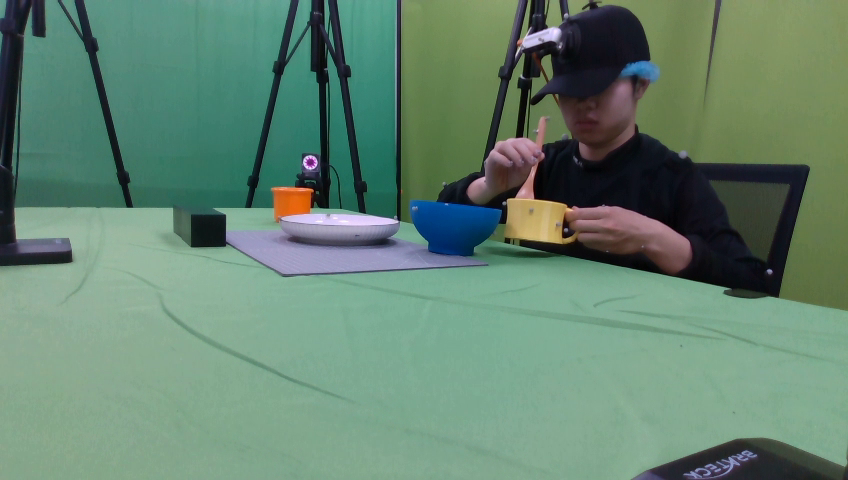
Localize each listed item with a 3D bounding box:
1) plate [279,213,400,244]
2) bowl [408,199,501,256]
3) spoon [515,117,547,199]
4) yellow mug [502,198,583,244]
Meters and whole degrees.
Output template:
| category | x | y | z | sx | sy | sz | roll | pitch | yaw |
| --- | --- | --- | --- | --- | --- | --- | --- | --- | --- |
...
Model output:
| category | x | y | z | sx | sy | sz | roll | pitch | yaw |
| --- | --- | --- | --- | --- | --- | --- | --- | --- | --- |
| plate | -0.147 | -0.020 | 1.060 | 0.209 | 0.038 | 0.209 | 3 | 7 | 0 |
| bowl | 0.045 | -0.019 | 0.967 | 0.151 | 0.077 | 0.151 | 6 | 5 | 0 |
| spoon | 0.180 | -0.119 | 0.999 | 0.041 | 0.193 | 0.022 | -5 | -31 | 45 |
| yellow mug | 0.197 | -0.029 | 0.996 | 0.131 | 0.064 | 0.100 | 8 | 0 | -3 |
